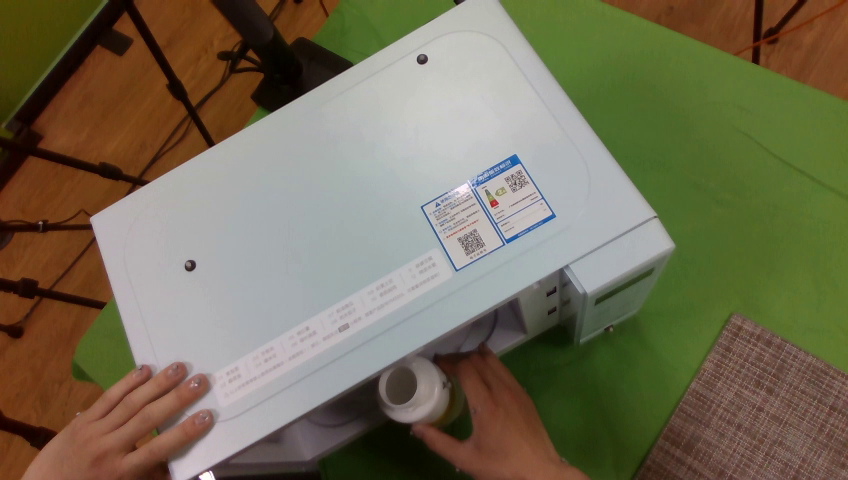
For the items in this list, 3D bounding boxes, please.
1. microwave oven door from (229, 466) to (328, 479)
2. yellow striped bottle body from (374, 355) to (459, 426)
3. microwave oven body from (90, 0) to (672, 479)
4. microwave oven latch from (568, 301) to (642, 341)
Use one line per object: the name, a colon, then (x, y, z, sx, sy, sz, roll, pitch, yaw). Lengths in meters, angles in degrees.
microwave oven door: (-0.015, 0.300, 0.527, 0.354, 0.246, 0.039, 22, 77, 18)
yellow striped bottle body: (-0.008, 0.146, 0.586, 0.062, 0.121, 0.062, -5, 71, 14)
microwave oven body: (-0.043, 0.018, 0.634, 0.442, 0.262, 0.323, -30, 68, 2)
microwave oven latch: (0.198, 0.080, 0.667, 0.079, 0.030, 0.030, -28, 68, 2)
